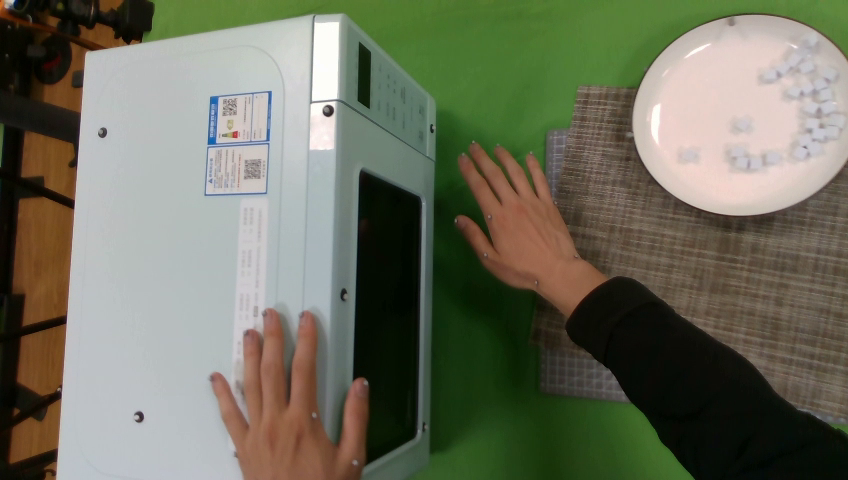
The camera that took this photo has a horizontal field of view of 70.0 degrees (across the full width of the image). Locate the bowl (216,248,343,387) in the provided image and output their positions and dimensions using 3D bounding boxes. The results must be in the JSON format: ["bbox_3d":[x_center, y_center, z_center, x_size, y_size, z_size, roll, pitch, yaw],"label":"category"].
[{"bbox_3d":[-0.148,0.087,0.684,0.151,0.077,0.151,-2,84,20],"label":"bowl"}]

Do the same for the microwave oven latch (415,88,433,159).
[{"bbox_3d":[-0.005,-0.137,0.719,0.030,0.029,0.079,0,86,20],"label":"microwave oven latch"}]

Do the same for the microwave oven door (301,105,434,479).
[{"bbox_3d":[-0.047,0.071,0.609,0.039,0.245,0.355,-1,85,21],"label":"microwave oven door"}]

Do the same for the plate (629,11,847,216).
[{"bbox_3d":[0.318,-0.124,0.612,0.208,0.038,0.208,-3,83,20],"label":"plate"}]

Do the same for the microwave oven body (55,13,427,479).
[{"bbox_3d":[-0.181,0.032,0.667,0.325,0.261,0.440,-1,86,20],"label":"microwave oven body"}]
